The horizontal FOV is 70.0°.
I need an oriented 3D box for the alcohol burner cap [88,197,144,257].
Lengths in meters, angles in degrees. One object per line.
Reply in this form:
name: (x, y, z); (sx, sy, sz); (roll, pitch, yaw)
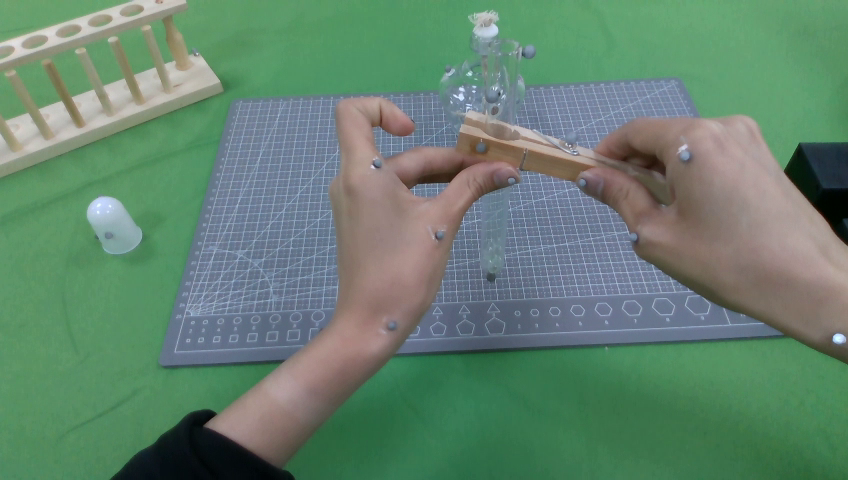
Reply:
alcohol burner cap: (-0.249, -0.013, 0.484); (0.034, 0.048, 0.033); (-1, 50, 1)

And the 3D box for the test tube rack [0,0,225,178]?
test tube rack: (-0.325, -0.146, 0.569); (0.242, 0.086, 0.066); (-28, 54, -19)

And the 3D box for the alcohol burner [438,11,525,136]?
alcohol burner: (0.051, -0.145, 0.529); (0.078, 0.120, 0.077); (0, 51, 1)

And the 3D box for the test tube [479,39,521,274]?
test tube: (0.040, -0.036, 0.333); (0.017, 0.151, 0.017); (-1, 43, 2)

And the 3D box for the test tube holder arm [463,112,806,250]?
test tube holder arm: (0.104, -0.032, 0.312); (0.178, 0.015, 0.013); (20, 52, 8)

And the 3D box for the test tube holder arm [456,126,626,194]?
test tube holder arm: (0.060, -0.041, 0.313); (0.088, 0.015, 0.010); (14, 50, 3)
